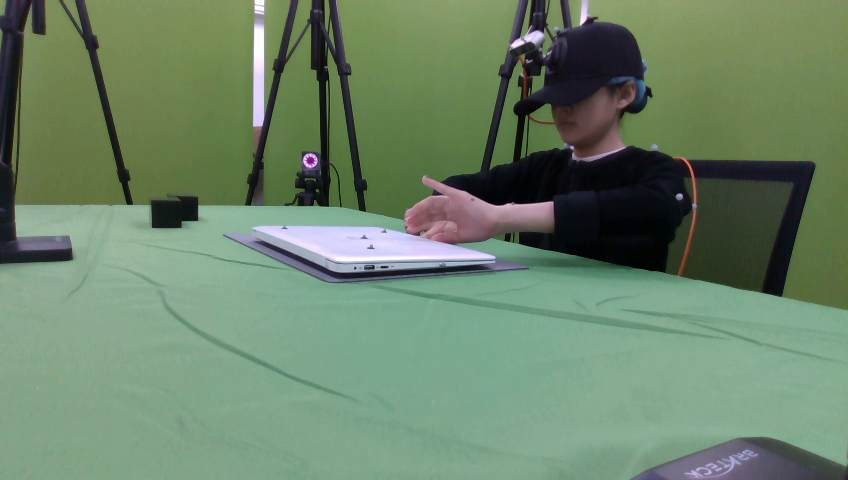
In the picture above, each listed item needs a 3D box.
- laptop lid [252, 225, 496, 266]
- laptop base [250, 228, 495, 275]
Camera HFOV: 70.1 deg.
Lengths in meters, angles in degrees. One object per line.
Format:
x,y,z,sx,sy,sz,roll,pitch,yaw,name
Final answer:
-0.090,0.003,0.883,0.243,0.013,0.355,0,8,-31,laptop lid
-0.093,0.015,0.884,0.237,0.023,0.352,3,6,-32,laptop base
